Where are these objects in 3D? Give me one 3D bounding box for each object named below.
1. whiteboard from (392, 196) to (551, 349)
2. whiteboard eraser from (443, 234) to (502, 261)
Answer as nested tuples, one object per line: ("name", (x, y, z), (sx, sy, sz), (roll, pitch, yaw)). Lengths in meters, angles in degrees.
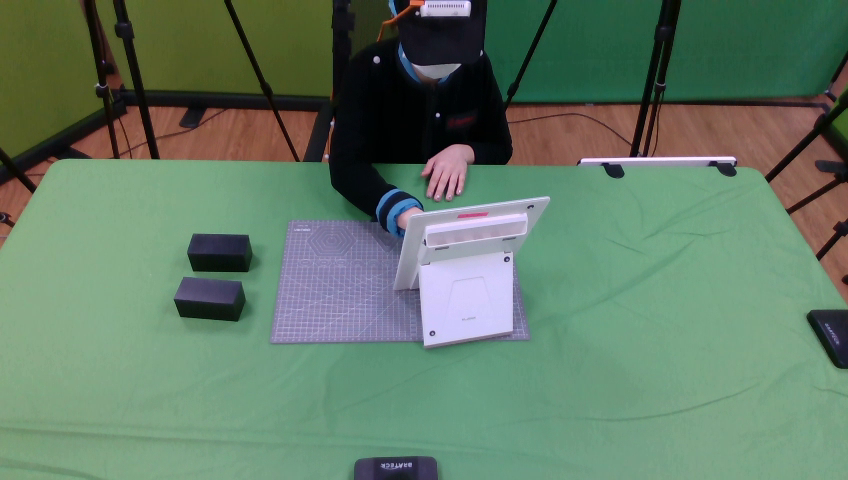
("whiteboard", (0.077, 0.071, 0.977), (0.217, 0.306, 0.143), (-7, 67, -11))
("whiteboard eraser", (0.083, 0.013, 1.036), (0.101, 0.041, 0.018), (-15, 66, 6))
